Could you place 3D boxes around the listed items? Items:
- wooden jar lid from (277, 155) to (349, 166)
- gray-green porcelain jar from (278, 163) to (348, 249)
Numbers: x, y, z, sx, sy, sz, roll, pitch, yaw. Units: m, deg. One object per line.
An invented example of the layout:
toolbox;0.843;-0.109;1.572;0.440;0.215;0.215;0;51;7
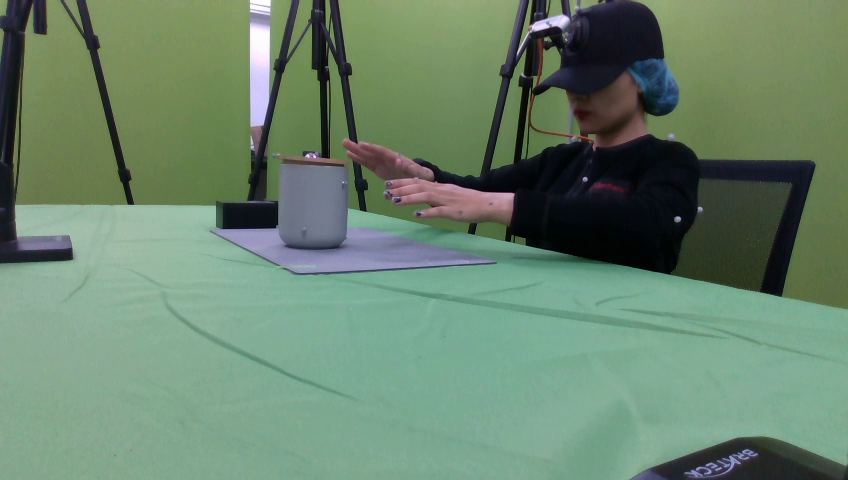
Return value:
wooden jar lid;-0.170;-0.117;0.925;0.108;0.020;0.108;4;7;0
gray-green porcelain jar;-0.171;-0.053;0.934;0.106;0.126;0.106;2;7;0
